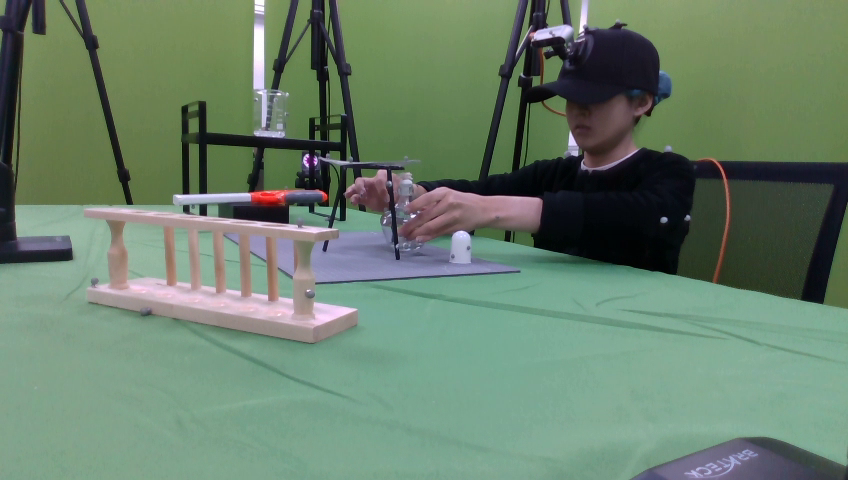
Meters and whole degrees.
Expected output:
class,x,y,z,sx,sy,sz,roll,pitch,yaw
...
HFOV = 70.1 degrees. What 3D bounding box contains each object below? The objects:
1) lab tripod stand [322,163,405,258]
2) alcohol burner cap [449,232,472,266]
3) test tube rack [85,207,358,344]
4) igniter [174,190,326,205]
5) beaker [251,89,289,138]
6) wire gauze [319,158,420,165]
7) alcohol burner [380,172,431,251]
class,x,y,z,sx,sy,sz,roll,pitch,yaw
lab tripod stand,-0.075,-0.047,0.894,0.148,0.131,0.148,2,5,0
alcohol burner cap,0.052,0.012,0.843,0.034,0.048,0.034,2,6,0
test tube rack,-0.177,0.022,0.518,0.241,0.085,0.067,6,7,23
igniter,-0.317,-0.079,1.132,0.278,0.025,0.057,-4,12,-32
beaker,-0.334,-0.273,1.316,0.084,0.100,0.074,5,8,15
wire gauze,-0.081,-0.113,0.887,0.122,0.011,0.124,-1,6,-25
alcohol burner,-0.027,-0.044,0.906,0.078,0.119,0.078,1,14,0
